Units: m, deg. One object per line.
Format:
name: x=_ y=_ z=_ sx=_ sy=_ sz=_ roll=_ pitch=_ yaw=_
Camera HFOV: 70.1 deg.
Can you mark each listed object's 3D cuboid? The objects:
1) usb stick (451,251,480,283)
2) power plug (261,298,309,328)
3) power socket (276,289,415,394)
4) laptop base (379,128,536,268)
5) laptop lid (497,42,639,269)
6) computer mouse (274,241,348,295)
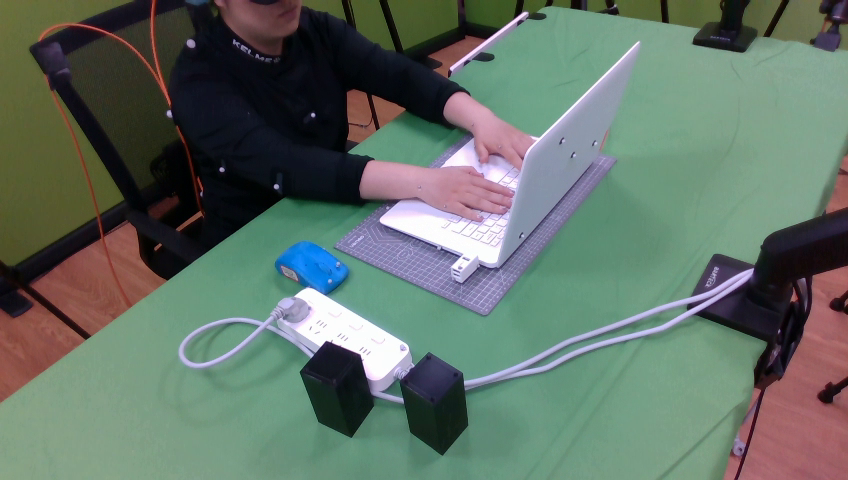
usb stick: x=0.066 y=0.036 z=0.899 sx=0.021 sy=0.027 sz=0.059 roll=23 pitch=45 yaw=32
power plug: x=-0.192 y=0.107 z=0.831 sx=0.073 sy=0.053 sz=0.035 roll=-32 pitch=43 yaw=-25
power socket: x=-0.114 y=0.133 z=0.821 sx=0.225 sy=0.033 sz=0.072 roll=25 pitch=49 yaw=33
laptop base: x=0.118 y=-0.088 z=1.058 sx=0.233 sy=0.023 sz=0.355 roll=19 pitch=47 yaw=32
laptop lid: x=0.221 y=-0.130 z=0.912 sx=0.013 sy=0.242 sz=0.357 roll=31 pitch=51 yaw=21
computer mouse: x=-0.175 y=0.040 z=0.936 sx=0.116 sy=0.041 sz=0.063 roll=27 pitch=48 yaw=27
